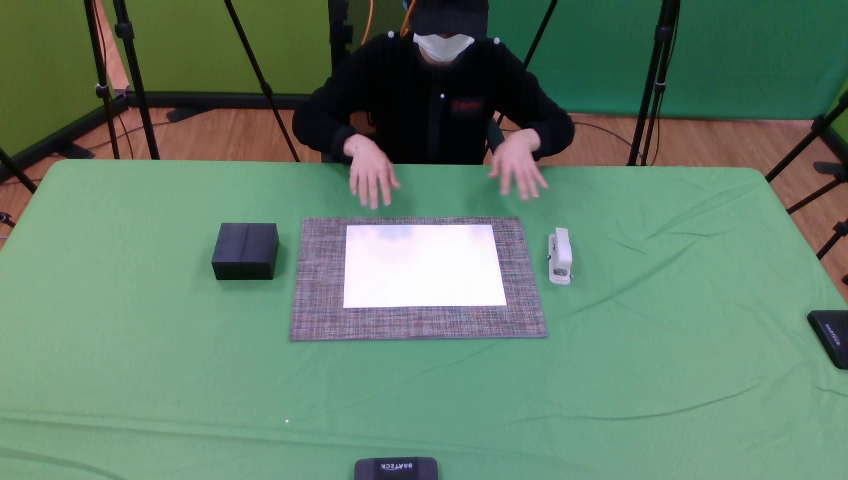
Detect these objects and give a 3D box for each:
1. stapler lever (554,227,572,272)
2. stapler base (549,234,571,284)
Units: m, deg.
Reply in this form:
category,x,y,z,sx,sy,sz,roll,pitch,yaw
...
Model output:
category,x,y,z,sx,sy,sz,roll,pitch,yaw
stapler lever,0.268,0.012,1.172,0.027,0.040,0.117,8,45,2
stapler base,0.268,0.030,1.188,0.041,0.024,0.130,8,44,2
